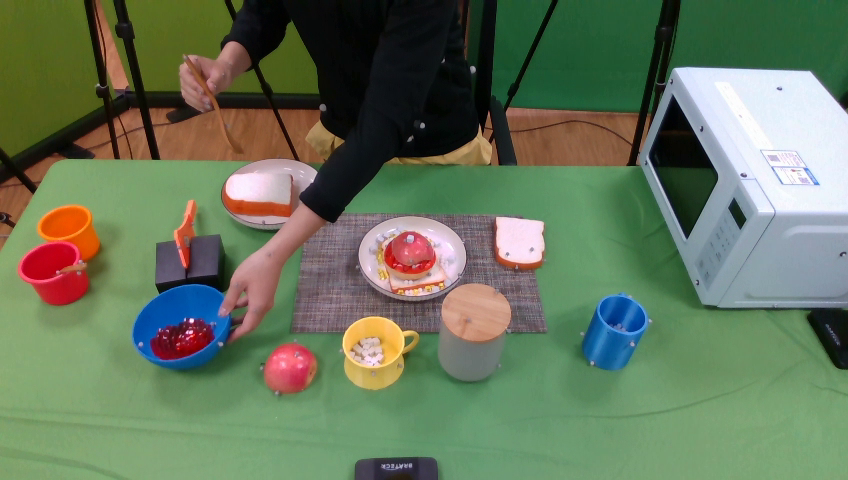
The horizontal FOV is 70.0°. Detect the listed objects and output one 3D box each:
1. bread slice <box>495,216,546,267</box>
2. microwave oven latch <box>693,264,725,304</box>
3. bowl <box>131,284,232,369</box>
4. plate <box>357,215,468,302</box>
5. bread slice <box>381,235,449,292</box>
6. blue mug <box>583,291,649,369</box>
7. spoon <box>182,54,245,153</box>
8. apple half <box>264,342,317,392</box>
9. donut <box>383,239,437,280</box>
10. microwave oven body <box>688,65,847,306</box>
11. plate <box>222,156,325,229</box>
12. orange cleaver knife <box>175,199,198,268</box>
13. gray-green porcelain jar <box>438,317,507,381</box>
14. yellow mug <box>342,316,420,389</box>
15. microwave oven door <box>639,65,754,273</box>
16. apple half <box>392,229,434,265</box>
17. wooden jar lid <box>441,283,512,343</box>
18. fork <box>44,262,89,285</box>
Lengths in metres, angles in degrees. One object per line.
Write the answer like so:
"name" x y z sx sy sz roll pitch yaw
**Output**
"bread slice" 0.194 0.002 1.204 0.105 0.019 0.131 5 45 2
"microwave oven latch" 0.522 0.081 1.115 0.030 0.029 0.078 2 46 -1
"bowl" -0.379 0.152 0.980 0.151 0.077 0.150 -1 47 1
"plate" -0.022 0.037 1.141 0.208 0.039 0.206 2 46 -2
"bread slice" -0.027 0.039 1.141 0.107 0.018 0.133 -12 49 -16
"blue mug" 0.324 0.142 1.023 0.082 0.106 0.116 15 47 11
"spoon" -0.355 -0.228 1.031 0.021 0.195 0.041 -19 38 -2
"apple half" -0.214 0.198 0.970 0.074 0.053 0.080 19 48 11
"donut" -0.025 0.030 1.110 0.099 0.048 0.098 3 46 -3
"microwave oven body" 0.669 -0.111 1.176 0.326 0.261 0.439 0 46 -3
"plate" -0.308 -0.095 1.251 0.209 0.038 0.208 2 47 -2
"orange cleaver knife" -0.438 -0.017 1.138 0.012 0.077 0.210 -13 27 -7
"gray-green porcelain jar" 0.076 0.158 0.977 0.106 0.127 0.105 2 47 -2
"yellow mug" -0.067 0.178 0.990 0.131 0.064 0.099 -16 49 -19
"microwave oven door" 0.522 -0.147 1.193 0.039 0.245 0.353 0 47 -3
"apple half" -0.021 0.005 1.083 0.081 0.033 0.081 7 49 -7
"wooden jar lid" 0.080 0.114 0.931 0.108 0.021 0.107 1 49 -1
"fork" -0.598 0.054 1.014 0.207 0.019 0.028 -15 28 45
